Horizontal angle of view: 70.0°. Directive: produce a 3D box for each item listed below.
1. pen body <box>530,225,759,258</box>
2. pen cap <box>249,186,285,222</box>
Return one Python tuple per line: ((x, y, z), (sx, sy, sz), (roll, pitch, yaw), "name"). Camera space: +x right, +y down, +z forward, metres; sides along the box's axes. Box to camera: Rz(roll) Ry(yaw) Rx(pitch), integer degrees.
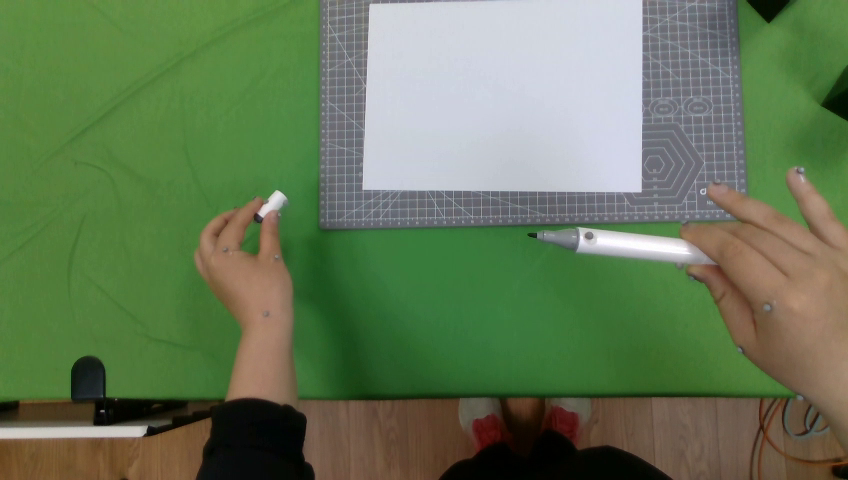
((0.138, 0.001, 0.383), (0.144, 0.017, 0.017), (3, 85, -3), "pen body")
((-0.160, -0.036, 0.615), (0.017, 0.017, 0.038), (40, 79, 9), "pen cap")
